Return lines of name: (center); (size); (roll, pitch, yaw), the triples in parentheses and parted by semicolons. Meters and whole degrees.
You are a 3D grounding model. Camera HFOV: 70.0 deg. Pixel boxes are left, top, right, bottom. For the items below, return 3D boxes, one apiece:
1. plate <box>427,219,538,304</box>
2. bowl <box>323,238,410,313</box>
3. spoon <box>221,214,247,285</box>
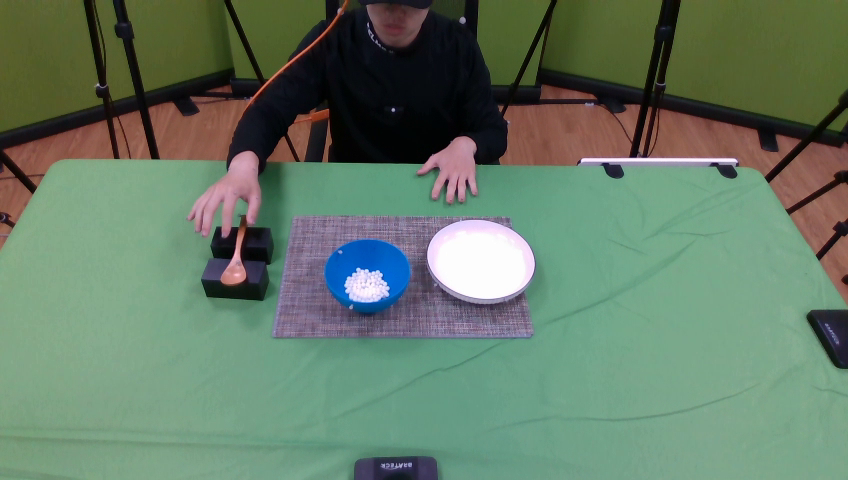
plate: (0.109, 0.044, 1.149); (0.208, 0.039, 0.206); (2, 46, -2)
bowl: (-0.101, 0.077, 1.073); (0.151, 0.077, 0.150); (2, 46, -2)
spoon: (-0.335, 0.014, 1.094); (0.041, 0.022, 0.192); (-3, 45, -5)
